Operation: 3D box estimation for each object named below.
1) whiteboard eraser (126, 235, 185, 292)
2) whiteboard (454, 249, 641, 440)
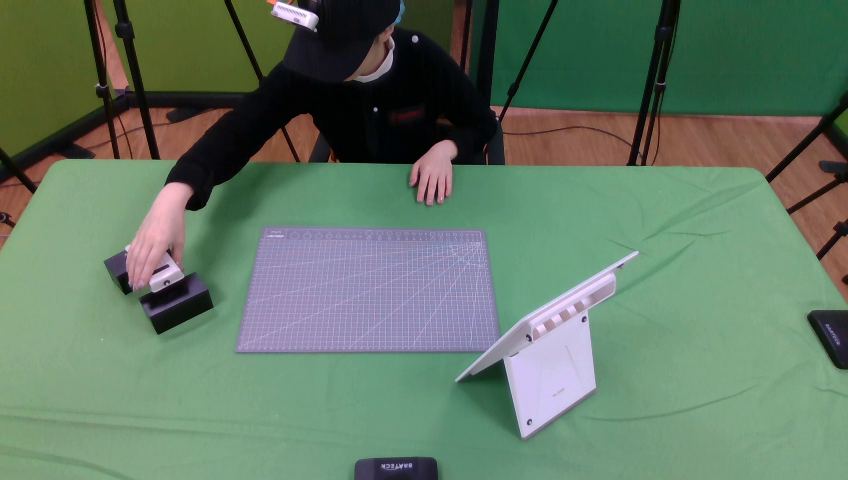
[{"bbox_3d":[-0.461,0.041,1.041,0.055,0.042,0.112,-34,57,-25],"label":"whiteboard eraser"},{"bbox_3d":[0.206,0.174,0.890,0.217,0.306,0.143,-24,72,-25],"label":"whiteboard"}]
